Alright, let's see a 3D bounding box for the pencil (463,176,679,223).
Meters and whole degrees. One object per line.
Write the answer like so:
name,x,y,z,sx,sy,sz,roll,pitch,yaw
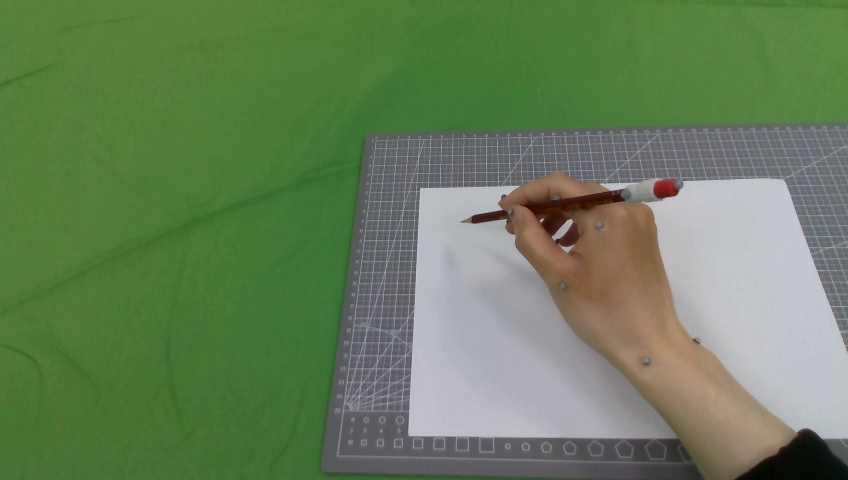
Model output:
pencil,0.078,-0.021,0.387,0.012,0.193,0.012,2,85,-30
